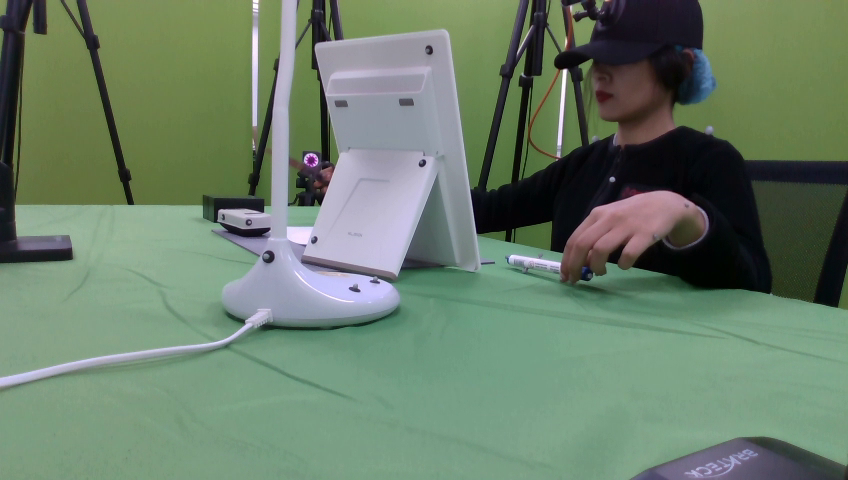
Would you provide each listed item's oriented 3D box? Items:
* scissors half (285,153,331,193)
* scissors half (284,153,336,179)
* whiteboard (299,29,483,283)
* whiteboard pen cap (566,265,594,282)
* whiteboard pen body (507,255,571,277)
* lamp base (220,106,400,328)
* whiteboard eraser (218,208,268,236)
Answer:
[{"bbox_3d":[-0.261,-0.149,1.289,0.176,0.040,0.013,35,0,-37],"label":"scissors half"},{"bbox_3d":[-0.252,-0.166,1.286,0.176,0.040,0.012,15,17,-35],"label":"scissors half"},{"bbox_3d":[-0.074,-0.082,0.742,0.216,0.305,0.144,9,29,38],"label":"whiteboard"},{"bbox_3d":[0.185,0.040,0.722,0.018,0.018,0.033,-3,7,-34],"label":"whiteboard pen cap"},{"bbox_3d":[0.155,0.034,0.772,0.017,0.017,0.140,-2,7,-31],"label":"whiteboard pen body"},{"bbox_3d":[-0.101,-0.023,0.531,0.160,0.180,0.179,4,10,10],"label":"lamp base"},{"bbox_3d":[-0.309,-0.031,1.044,0.056,0.042,0.112,-3,9,-40],"label":"whiteboard eraser"}]
